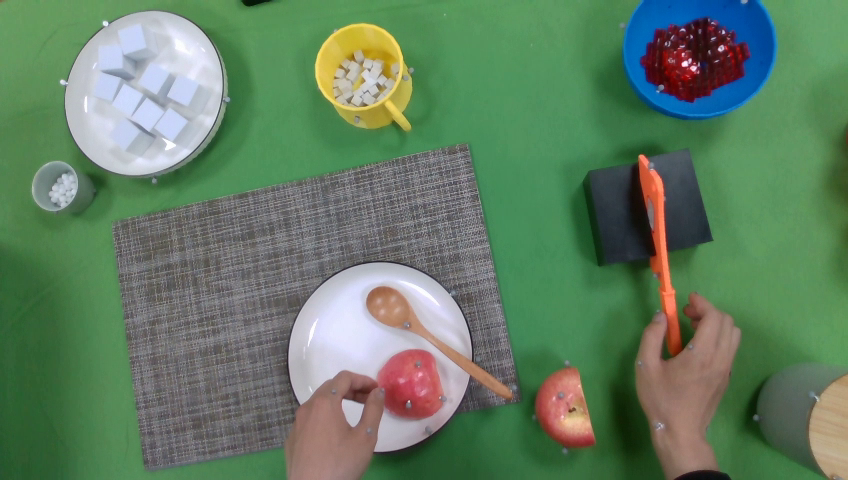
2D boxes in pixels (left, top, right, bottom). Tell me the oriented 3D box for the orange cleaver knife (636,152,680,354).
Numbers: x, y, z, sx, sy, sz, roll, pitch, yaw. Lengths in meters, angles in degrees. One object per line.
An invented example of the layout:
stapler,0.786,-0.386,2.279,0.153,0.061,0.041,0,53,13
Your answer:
orange cleaver knife,0.242,0.015,0.631,0.012,0.077,0.212,-11,106,8

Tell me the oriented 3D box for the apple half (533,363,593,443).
apple half,0.141,0.172,0.634,0.053,0.075,0.080,-15,86,9

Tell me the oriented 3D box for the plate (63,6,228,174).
plate,-0.336,-0.180,0.745,0.207,0.039,0.207,-1,84,7

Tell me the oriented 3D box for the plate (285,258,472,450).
plate,-0.050,0.124,0.675,0.209,0.038,0.208,-1,85,7

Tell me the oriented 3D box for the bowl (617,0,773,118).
bowl,0.279,-0.195,0.649,0.151,0.077,0.151,-1,85,7

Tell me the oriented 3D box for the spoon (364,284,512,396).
spoon,0.012,0.109,0.656,0.192,0.022,0.041,34,78,21

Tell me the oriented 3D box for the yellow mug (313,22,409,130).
yellow mug,-0.061,-0.177,0.696,0.100,0.064,0.130,-41,82,2

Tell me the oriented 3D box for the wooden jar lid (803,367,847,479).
wooden jar lid,0.378,0.159,0.515,0.108,0.021,0.108,0,87,7

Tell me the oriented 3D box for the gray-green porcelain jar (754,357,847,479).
gray-green porcelain jar,0.386,0.167,0.576,0.106,0.127,0.105,-1,84,7

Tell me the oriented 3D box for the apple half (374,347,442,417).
apple half,-0.020,0.158,0.662,0.081,0.033,0.081,-1,81,6

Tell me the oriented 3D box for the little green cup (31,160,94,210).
little green cup,-0.442,-0.065,0.745,0.061,0.039,0.061,0,85,5
